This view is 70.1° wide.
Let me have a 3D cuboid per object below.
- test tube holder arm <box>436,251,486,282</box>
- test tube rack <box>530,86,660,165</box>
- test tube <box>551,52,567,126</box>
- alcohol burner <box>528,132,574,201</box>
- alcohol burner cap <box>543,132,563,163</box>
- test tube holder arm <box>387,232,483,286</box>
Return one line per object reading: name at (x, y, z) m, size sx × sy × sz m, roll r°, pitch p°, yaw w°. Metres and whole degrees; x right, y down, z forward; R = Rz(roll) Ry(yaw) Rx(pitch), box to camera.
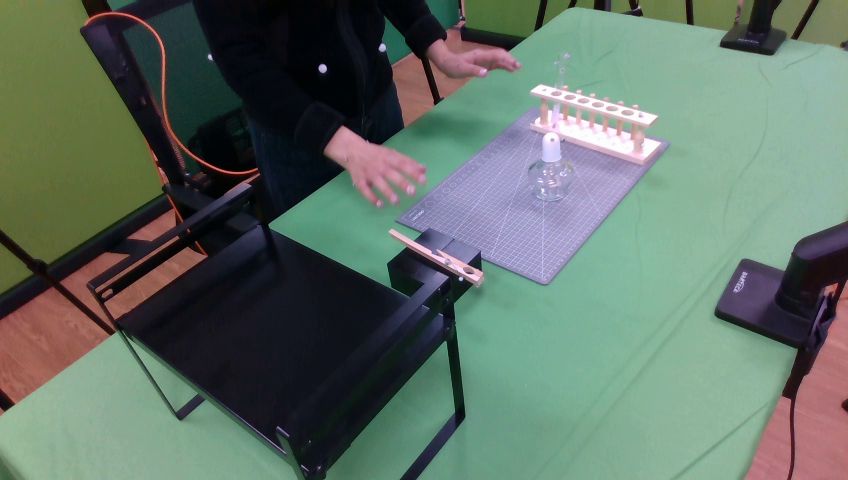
test tube holder arm at (0.050, 0.037, 0.852) m, size 0.087 × 0.015 × 0.010 m, roll 25°, pitch 56°, yaw 33°
test tube rack at (0.320, -0.226, 1.140) m, size 0.240 × 0.085 × 0.067 m, roll 27°, pitch 51°, yaw 34°
test tube at (0.253, -0.281, 1.138) m, size 0.017 × 0.151 × 0.017 m, roll -2°, pitch 44°, yaw 2°
alcohol burner at (0.214, -0.126, 1.016) m, size 0.078 × 0.119 × 0.077 m, roll -5°, pitch 38°, yaw 5°
alcohol burner cap at (0.211, -0.154, 0.994) m, size 0.034 × 0.048 × 0.033 m, roll -7°, pitch 35°, yaw 6°
test tube holder arm at (0.012, 0.025, 0.874) m, size 0.177 × 0.015 × 0.013 m, roll 24°, pitch 56°, yaw 33°
